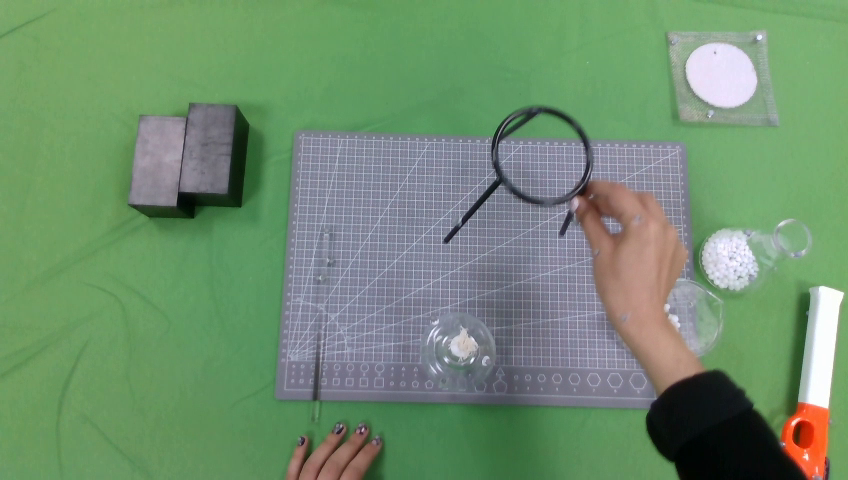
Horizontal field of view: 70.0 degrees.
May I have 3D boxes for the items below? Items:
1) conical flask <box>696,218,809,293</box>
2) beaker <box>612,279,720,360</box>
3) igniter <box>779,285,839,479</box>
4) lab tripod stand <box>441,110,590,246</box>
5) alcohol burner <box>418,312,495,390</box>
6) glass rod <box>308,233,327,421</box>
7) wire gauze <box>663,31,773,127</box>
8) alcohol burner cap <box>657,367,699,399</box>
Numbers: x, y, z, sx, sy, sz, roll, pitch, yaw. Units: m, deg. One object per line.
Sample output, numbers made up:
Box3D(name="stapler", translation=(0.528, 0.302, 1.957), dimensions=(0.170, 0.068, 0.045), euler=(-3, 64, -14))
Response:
Box3D(name="conical flask", translation=(0.339, 0.010, 0.620), dimensions=(0.075, 0.122, 0.075), euler=(0, 77, -1))
Box3D(name="beaker", translation=(0.240, 0.082, 0.611), dimensions=(0.084, 0.100, 0.073), euler=(-22, 79, -6))
Box3D(name="igniter", translation=(0.402, 0.183, 0.634), dimensions=(0.057, 0.025, 0.275), euler=(17, 78, -8))
Box3D(name="lab tripod stand", translation=(0.087, -0.049, 0.574), dimensions=(0.149, 0.132, 0.147), euler=(2, 76, -9))
Box3D(name="alcohol burner", translation=(0.032, 0.107, 0.593), dimensions=(0.078, 0.119, 0.077), euler=(0, 76, 1))
Box3D(name="glass rod", translation=(-0.113, 0.091, 0.646), dimensions=(0.008, 0.008, 0.199), euler=(3, 81, -1))
Box3D(name="wire gauze", translation=(0.352, -0.194, 0.722), dimensions=(0.125, 0.011, 0.121), euler=(0, 78, -3))
Box3D(name="alcohol burner cap", translation=(0.266, 0.148, 0.627), dimensions=(0.034, 0.048, 0.033), euler=(0, 78, -1))
